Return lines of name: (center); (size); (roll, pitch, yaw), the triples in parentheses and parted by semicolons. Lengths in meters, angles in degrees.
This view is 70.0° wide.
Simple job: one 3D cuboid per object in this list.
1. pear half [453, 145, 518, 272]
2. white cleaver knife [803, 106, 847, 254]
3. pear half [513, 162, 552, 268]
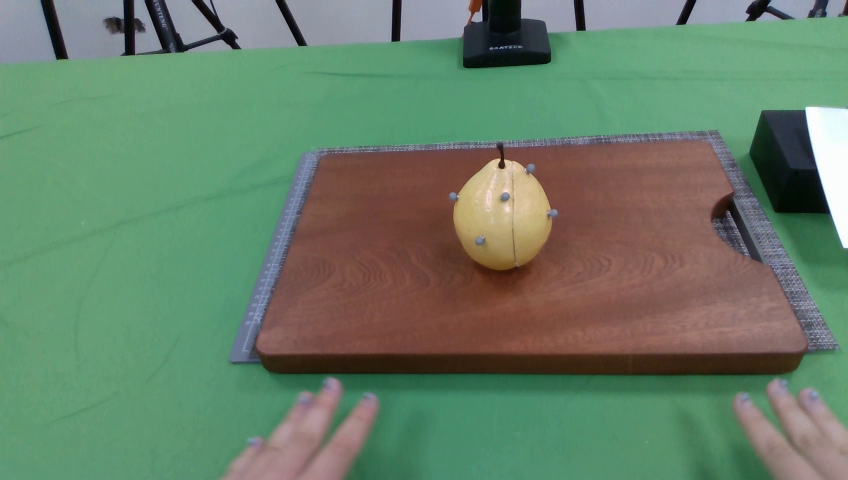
pear half: (0.050, -0.028, 0.479); (0.056, 0.111, 0.075); (-1, 38, 7)
white cleaver knife: (0.366, -0.009, 0.490); (0.066, 0.022, 0.284); (0, 53, 12)
pear half: (0.086, -0.020, 0.480); (0.031, 0.089, 0.070); (-1, 34, 6)
